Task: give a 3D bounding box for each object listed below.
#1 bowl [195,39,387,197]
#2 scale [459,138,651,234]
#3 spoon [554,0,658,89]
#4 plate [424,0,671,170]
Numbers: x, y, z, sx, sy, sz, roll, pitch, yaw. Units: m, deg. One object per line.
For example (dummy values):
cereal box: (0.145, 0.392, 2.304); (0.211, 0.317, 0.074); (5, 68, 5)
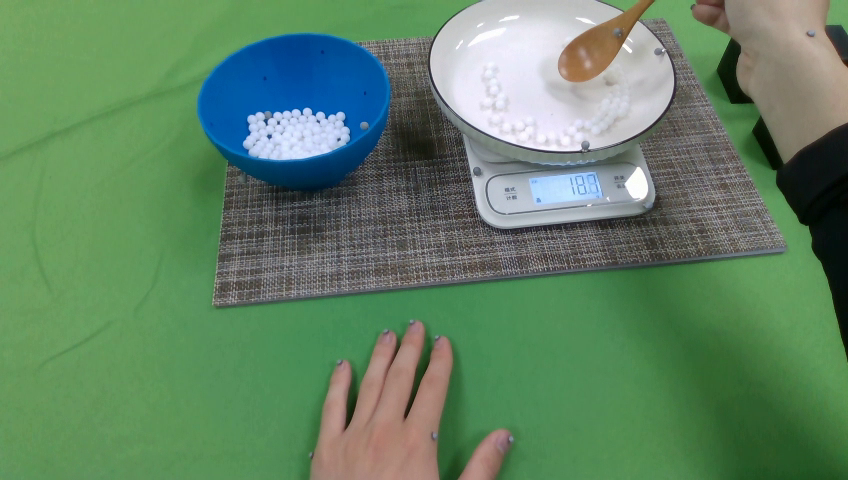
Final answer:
bowl: (-0.103, -0.089, 0.506); (0.151, 0.077, 0.150); (0, 54, 1)
scale: (0.105, -0.097, 0.539); (0.149, 0.032, 0.199); (-6, 55, -3)
spoon: (0.178, -0.185, 0.467); (0.022, 0.194, 0.041); (-1, 62, -43)
plate: (0.103, -0.135, 0.525); (0.209, 0.038, 0.207); (0, 55, 0)
